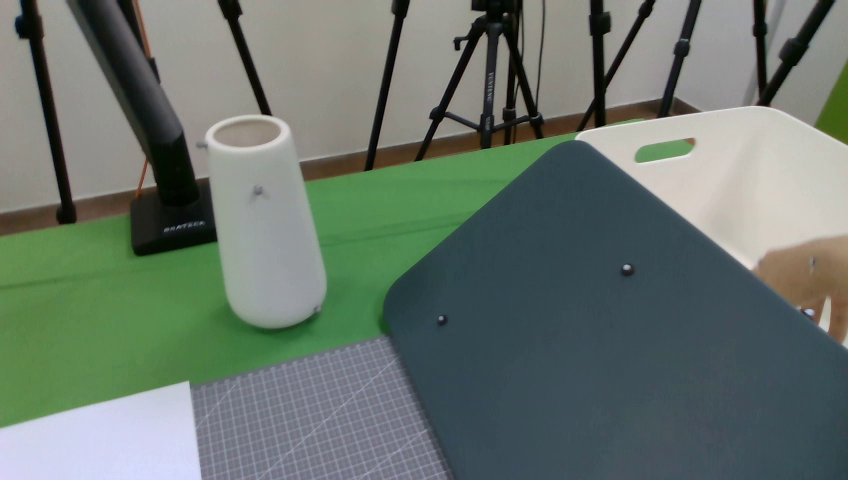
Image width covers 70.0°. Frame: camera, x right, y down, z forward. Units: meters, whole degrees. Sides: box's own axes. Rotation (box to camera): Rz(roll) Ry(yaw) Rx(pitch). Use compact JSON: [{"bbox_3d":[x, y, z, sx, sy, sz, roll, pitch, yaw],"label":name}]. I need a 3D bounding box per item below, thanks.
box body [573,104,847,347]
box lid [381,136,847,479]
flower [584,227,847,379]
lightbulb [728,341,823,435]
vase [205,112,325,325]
[{"bbox_3d":[0.318,0.031,0.553,0.255,0.162,0.359,-11,39,-16],"label":"box body"},{"bbox_3d":[0.112,0.079,0.473,0.263,0.015,0.367,-41,41,8],"label":"box lid"},{"bbox_3d":[0.322,0.081,0.601,0.358,0.038,0.044,32,42,27],"label":"flower"},{"bbox_3d":[0.291,0.119,0.515,0.059,0.060,0.107,2,21,2],"label":"lightbulb"},{"bbox_3d":[-0.150,-0.015,0.570,0.098,0.202,0.097,0,36,1],"label":"vase"}]
